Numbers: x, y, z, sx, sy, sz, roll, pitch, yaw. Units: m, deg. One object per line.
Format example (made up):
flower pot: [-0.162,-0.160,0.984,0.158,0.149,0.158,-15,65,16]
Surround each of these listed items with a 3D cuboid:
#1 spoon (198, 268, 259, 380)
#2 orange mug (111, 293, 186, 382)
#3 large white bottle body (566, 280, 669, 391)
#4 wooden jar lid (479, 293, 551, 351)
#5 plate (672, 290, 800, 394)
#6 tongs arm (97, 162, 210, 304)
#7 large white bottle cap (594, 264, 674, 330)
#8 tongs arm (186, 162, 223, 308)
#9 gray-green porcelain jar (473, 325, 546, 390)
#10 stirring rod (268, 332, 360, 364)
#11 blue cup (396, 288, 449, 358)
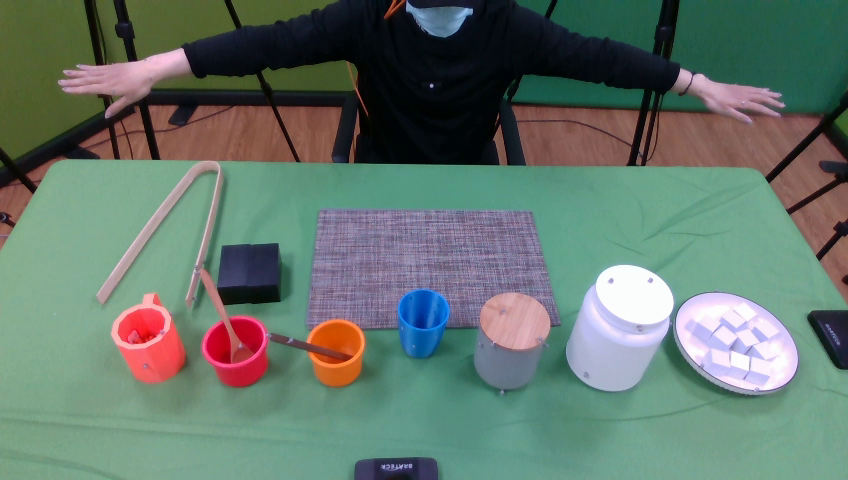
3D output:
spoon: [-0.312,0.132,0.962,0.041,0.021,0.194,-24,96,-22]
orange mug: [-0.435,0.149,0.969,0.083,0.101,0.125,-5,51,-8]
large white bottle body: [0.310,0.142,0.967,0.131,0.185,0.130,2,46,-2]
wooden jar lid: [0.138,0.127,0.925,0.108,0.021,0.107,1,47,-1]
plate: [0.533,0.178,1.050,0.208,0.039,0.206,2,46,-2]
tongs arm: [-0.519,-0.028,1.183,0.028,0.028,0.385,5,45,12]
large white bottle cap: [0.314,0.083,0.906,0.115,0.018,0.114,2,46,-2]
tongs arm: [-0.436,-0.025,1.181,0.051,0.027,0.382,-3,45,0]
gray-green porcelain jar: [0.135,0.170,0.969,0.106,0.127,0.105,2,46,-2]
stirring rod: [-0.167,0.169,0.941,0.177,0.006,0.014,26,27,-41]
blue cup: [-0.006,0.144,1.002,0.093,0.101,0.092,3,46,-3]
